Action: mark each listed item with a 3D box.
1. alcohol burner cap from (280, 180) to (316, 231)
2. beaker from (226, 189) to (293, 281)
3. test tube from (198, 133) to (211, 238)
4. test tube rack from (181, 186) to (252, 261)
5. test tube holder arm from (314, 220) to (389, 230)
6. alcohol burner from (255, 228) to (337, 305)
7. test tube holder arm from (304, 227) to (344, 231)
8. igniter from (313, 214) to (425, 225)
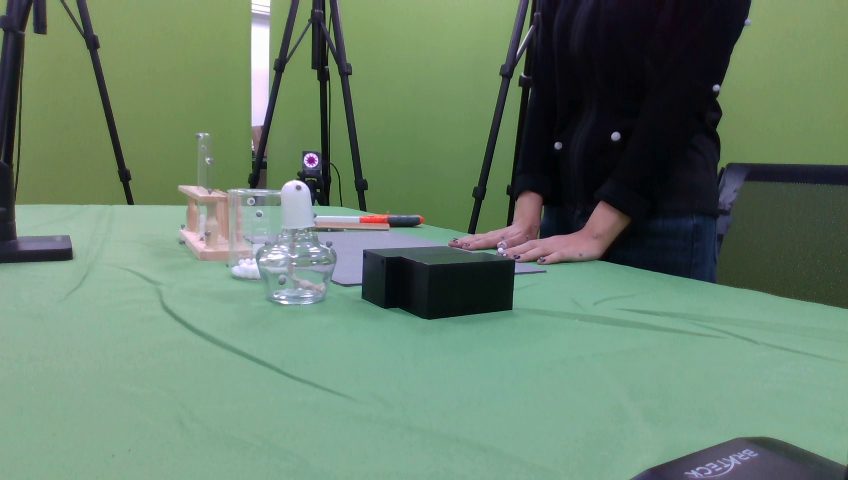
[{"bbox_3d":[-0.122,-0.034,0.581,0.034,0.048,0.034,-3,10,1],"label":"alcohol burner cap"},{"bbox_3d":[-0.184,-0.007,0.694,0.084,0.100,0.073,-1,8,-29],"label":"beaker"},{"bbox_3d":[-0.316,-0.078,0.871,0.017,0.150,0.017,2,3,0],"label":"test tube"},{"bbox_3d":[-0.312,-0.031,0.893,0.067,0.085,0.241,-1,8,-27],"label":"test tube rack"},{"bbox_3d":[-0.153,-0.028,1.175,0.179,0.015,0.013,1,-26,-21],"label":"test tube holder arm"},{"bbox_3d":[-0.124,0.002,0.585,0.078,0.119,0.078,0,7,0],"label":"alcohol burner"},{"bbox_3d":[-0.197,-0.026,1.163,0.088,0.015,0.010,0,-25,-20],"label":"test tube holder arm"},{"bbox_3d":[-0.129,-0.043,1.273,0.278,0.025,0.057,-1,-2,-26],"label":"igniter"}]
